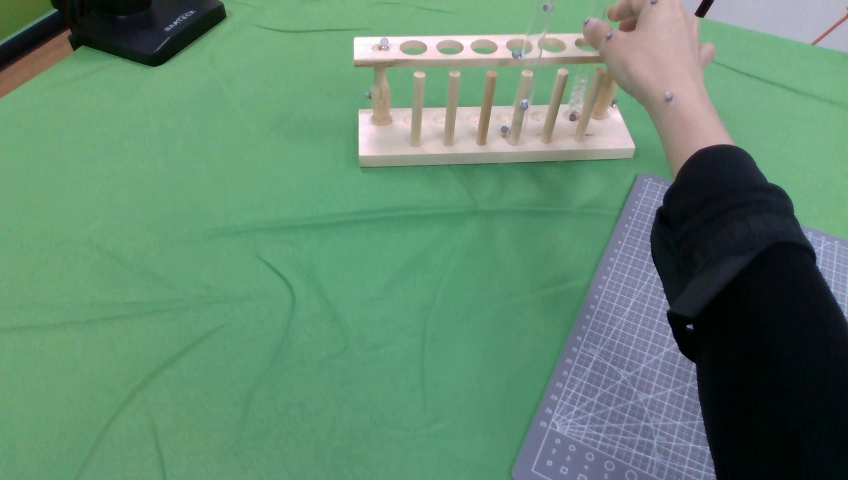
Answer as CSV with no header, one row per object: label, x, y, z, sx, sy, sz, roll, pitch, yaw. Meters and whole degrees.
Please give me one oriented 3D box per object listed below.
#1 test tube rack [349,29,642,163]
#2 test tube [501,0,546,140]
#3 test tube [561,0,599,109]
test tube rack,0.059,-0.124,0.522,0.243,0.086,0.066,-3,49,-5
test tube,0.078,-0.140,0.478,0.017,0.152,0.017,2,49,-2
test tube,0.133,-0.175,0.504,0.017,0.151,0.017,0,46,0
